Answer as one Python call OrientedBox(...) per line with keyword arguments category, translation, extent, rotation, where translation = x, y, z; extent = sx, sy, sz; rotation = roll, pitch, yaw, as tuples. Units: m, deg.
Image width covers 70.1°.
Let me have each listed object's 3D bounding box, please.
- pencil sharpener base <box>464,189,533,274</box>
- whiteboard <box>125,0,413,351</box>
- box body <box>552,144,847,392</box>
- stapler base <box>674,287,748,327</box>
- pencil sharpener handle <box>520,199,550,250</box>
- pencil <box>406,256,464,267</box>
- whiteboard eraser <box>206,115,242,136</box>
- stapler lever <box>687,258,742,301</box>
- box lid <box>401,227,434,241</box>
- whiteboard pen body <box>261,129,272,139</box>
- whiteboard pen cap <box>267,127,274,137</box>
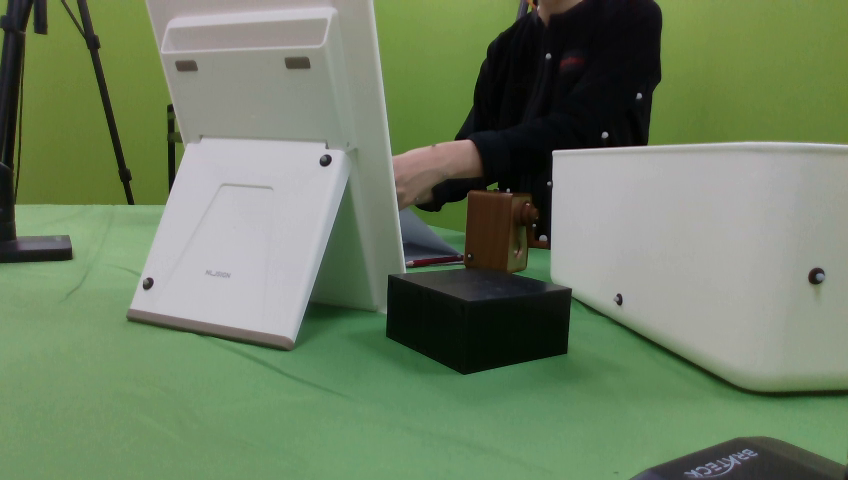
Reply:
OrientedBox(category="pencil sharpener base", translation=(0.103, -0.012, 0.813), extent=(0.076, 0.107, 0.061), rotation=(9, 9, 36))
OrientedBox(category="whiteboard", translation=(-0.151, -0.050, 0.471), extent=(0.216, 0.305, 0.144), rotation=(6, 27, 24))
OrientedBox(category="box body", translation=(0.290, 0.002, 0.549), extent=(0.255, 0.160, 0.363), rotation=(2, 7, -10))
OrientedBox(category="stapler base", translation=(0.281, 0.061, 0.586), extent=(0.041, 0.024, 0.131), rotation=(11, 9, 37))
OrientedBox(category="pencil sharpener handle", translation=(0.147, -0.019, 0.785), extent=(0.030, 0.068, 0.036), rotation=(9, 25, 36))
OrientedBox(category="pencil", translation=(0.041, 0.027, 0.850), extent=(0.195, 0.012, 0.012), rotation=(-4, 10, -45))
OrientedBox(category="whiteboard eraser", translation=(-0.438, -0.249, 1.320), extent=(0.056, 0.042, 0.112), rotation=(-3, 9, -30))
OrientedBox(category="stapler lever", translation=(0.283, 0.035, 0.585), extent=(0.026, 0.040, 0.119), rotation=(11, 8, 37))
OrientedBox(category="box lid", translation=(-0.196, -0.015, 1.105), extent=(0.373, 0.015, 0.262), rotation=(-1, 7, -32))
OrientedBox(category="whiteboard pen body", translation=(-0.361, -0.245, 1.393), extent=(0.017, 0.017, 0.140), rotation=(0, 5, -20))
OrientedBox(category="whiteboard pen cap", translation=(-0.340, -0.239, 1.337), extent=(0.018, 0.018, 0.033), rotation=(1, -1, -14))
